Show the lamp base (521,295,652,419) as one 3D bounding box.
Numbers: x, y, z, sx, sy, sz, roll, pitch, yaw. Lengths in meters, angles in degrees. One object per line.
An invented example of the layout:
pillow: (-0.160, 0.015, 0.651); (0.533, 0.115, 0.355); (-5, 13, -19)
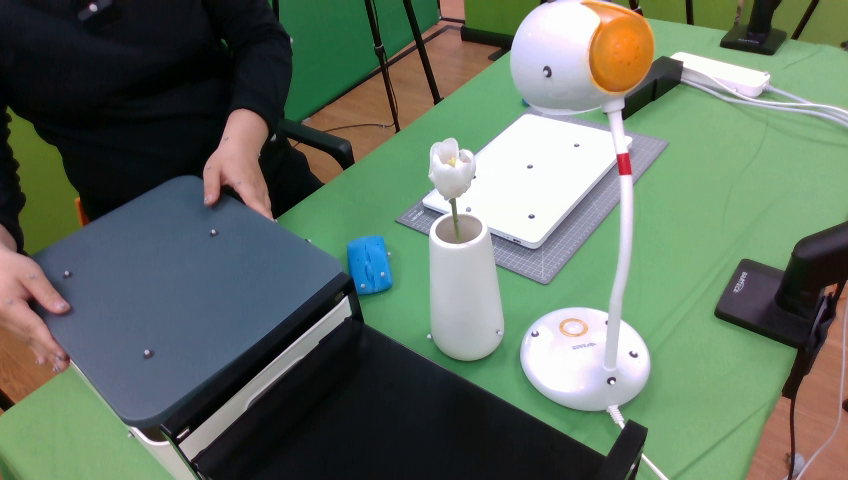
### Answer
lamp base: (0.201, 0.095, 0.710); (0.161, 0.181, 0.177); (-16, 43, -10)

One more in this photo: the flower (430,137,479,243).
flower: (0.041, 0.011, 0.691); (0.044, 0.363, 0.038); (16, 62, 14)

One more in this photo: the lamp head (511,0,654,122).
lamp head: (0.155, -0.168, 0.564); (0.113, 0.113, 0.122); (-18, 23, -12)

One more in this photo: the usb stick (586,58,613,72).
usb stick: (0.401, -0.399, 1.380); (0.059, 0.027, 0.021); (1, 47, 20)

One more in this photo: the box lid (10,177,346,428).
box lid: (-0.292, 0.041, 0.701); (0.368, 0.015, 0.264); (26, 51, 36)

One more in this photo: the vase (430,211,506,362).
vase: (0.054, 0.062, 0.757); (0.098, 0.201, 0.097); (-3, 40, 3)

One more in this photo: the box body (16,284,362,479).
box body: (-0.285, 0.123, 0.766); (0.361, 0.161, 0.255); (25, 49, 33)

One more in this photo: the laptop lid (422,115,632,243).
laptop lid: (0.190, -0.126, 1.081); (0.239, 0.013, 0.358); (23, 48, 34)

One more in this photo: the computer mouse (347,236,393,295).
computer mouse: (-0.086, 0.035, 0.936); (0.063, 0.041, 0.116); (-9, 44, -5)

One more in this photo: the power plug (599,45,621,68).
power plug: (0.437, -0.422, 1.412); (0.053, 0.035, 0.072); (-18, 75, -47)

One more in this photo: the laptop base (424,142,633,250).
laptop base: (0.193, -0.116, 1.087); (0.233, 0.023, 0.355); (21, 48, 34)

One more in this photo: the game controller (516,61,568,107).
game controller: (0.259, -0.352, 1.336); (0.097, 0.052, 0.154); (-3, 41, 2)

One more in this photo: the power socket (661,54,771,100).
power socket: (0.615, -0.348, 1.284); (0.072, 0.033, 0.225); (-36, 48, -28)
